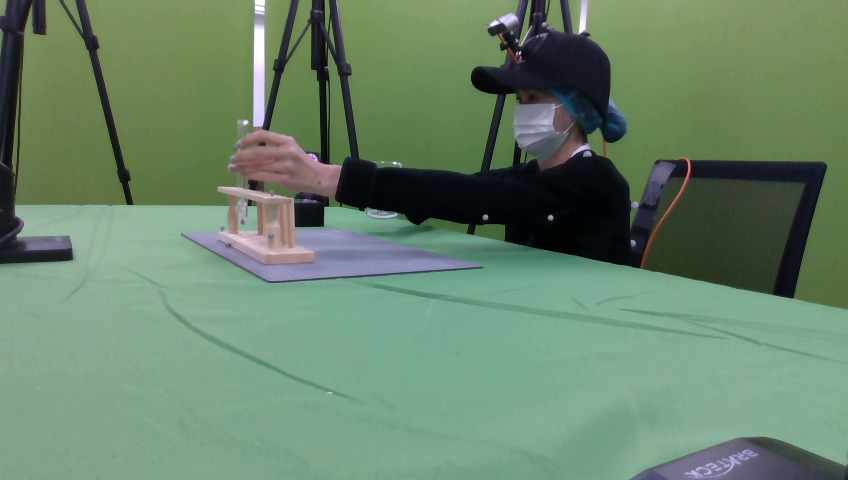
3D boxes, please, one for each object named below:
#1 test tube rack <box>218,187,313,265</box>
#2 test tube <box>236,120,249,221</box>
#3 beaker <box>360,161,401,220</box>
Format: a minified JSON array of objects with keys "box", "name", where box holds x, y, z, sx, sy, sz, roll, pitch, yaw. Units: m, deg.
[{"box":[-0.235,-0.027,0.872,0.067,0.085,0.241,-2,8,-32],"name":"test tube rack"},{"box":[-0.266,-0.100,0.885,0.017,0.150,0.017,7,20,-2],"name":"test tube"},{"box":[-0.077,-0.093,1.137,0.083,0.100,0.074,18,26,41],"name":"beaker"}]
